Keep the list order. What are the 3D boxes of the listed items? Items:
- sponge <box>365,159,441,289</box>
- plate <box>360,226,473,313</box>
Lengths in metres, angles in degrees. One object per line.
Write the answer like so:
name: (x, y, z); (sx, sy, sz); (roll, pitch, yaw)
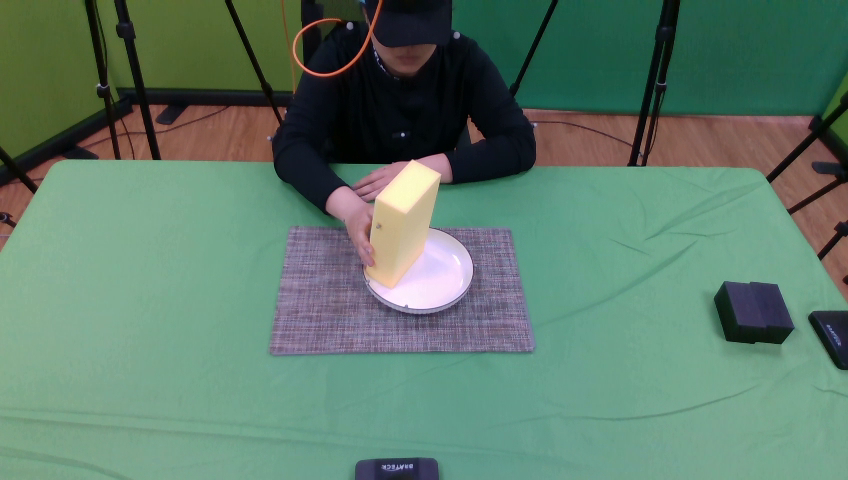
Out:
sponge: (-0.040, -0.024, 1.070); (0.061, 0.208, 0.118); (29, 50, 13)
plate: (-0.014, 0.057, 1.126); (0.208, 0.039, 0.206); (2, 46, -2)
